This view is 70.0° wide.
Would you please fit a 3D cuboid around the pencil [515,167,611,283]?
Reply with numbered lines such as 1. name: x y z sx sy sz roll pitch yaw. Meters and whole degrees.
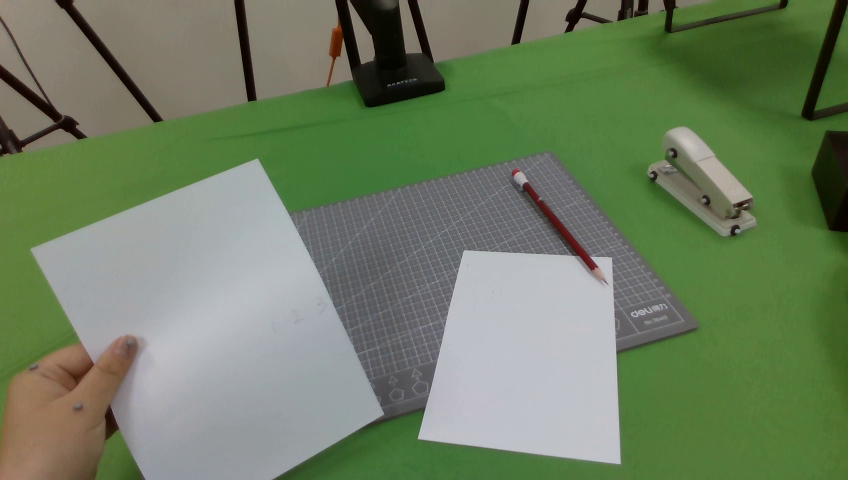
1. pencil: 0.137 -0.021 0.612 0.012 0.012 0.191 -17 43 -10

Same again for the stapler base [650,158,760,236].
1. stapler base: 0.286 -0.054 0.622 0.041 0.025 0.129 -19 43 -10

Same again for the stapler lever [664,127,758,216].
1. stapler lever: 0.284 -0.072 0.604 0.027 0.040 0.116 -20 43 -9
